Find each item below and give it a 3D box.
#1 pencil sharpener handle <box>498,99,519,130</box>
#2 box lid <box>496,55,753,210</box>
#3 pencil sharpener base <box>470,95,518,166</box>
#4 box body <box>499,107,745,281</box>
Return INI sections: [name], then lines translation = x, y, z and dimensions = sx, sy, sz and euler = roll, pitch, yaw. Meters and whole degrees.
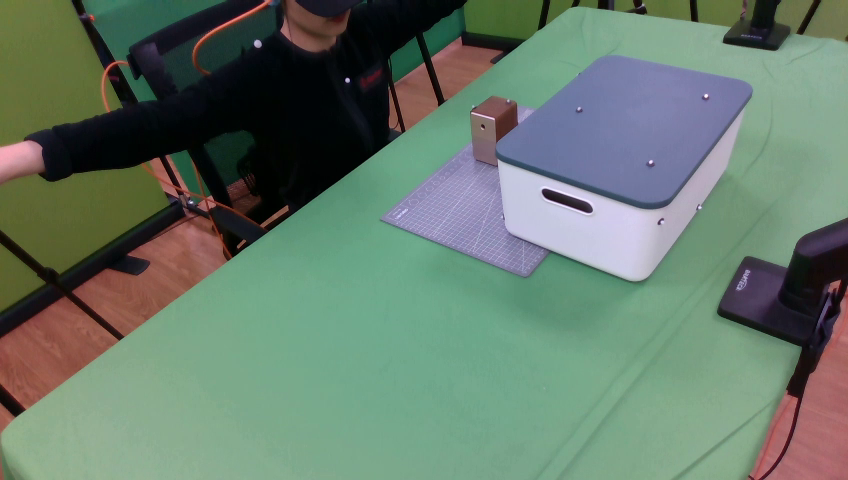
[pencil sharpener handle]
translation = 0.165, -0.243, 1.148
dimensions = 0.035, 0.068, 0.031
euler = 22, 49, 35
[box lid]
translation = 0.308, -0.181, 0.911
dimensions = 0.261, 0.015, 0.372
euler = 24, 50, 31
[pencil sharpener base]
translation = 0.134, -0.205, 1.128
dimensions = 0.061, 0.107, 0.077
euler = 23, 50, 33
[box body]
translation = 0.315, -0.124, 0.958
dimensions = 0.252, 0.161, 0.365
euler = 24, 50, 32
